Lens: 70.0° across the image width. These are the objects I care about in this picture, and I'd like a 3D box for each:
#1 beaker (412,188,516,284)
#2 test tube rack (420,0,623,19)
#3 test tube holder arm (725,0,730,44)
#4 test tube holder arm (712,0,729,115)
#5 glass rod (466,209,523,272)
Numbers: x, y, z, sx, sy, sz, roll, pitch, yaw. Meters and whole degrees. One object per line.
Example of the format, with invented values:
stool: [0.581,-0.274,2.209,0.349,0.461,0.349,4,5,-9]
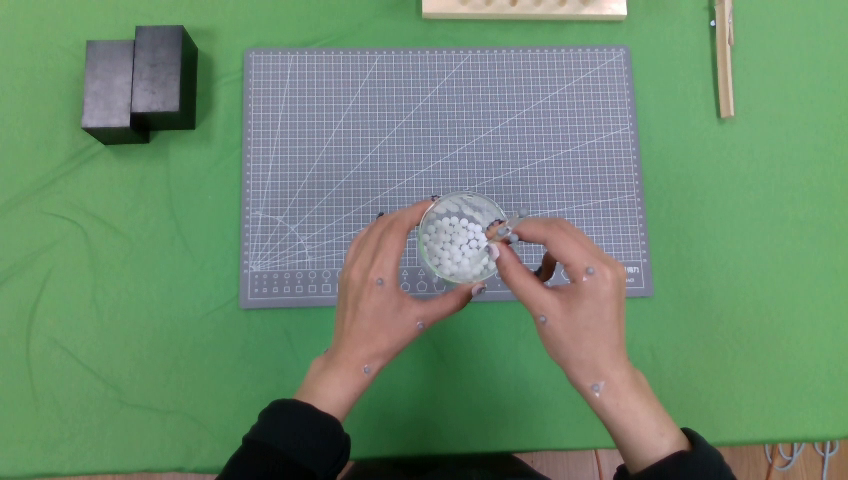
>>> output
beaker: [0.030,0.002,0.521,0.084,0.100,0.074,16,83,-2]
test tube rack: [0.117,-0.306,0.690,0.242,0.085,0.066,0,79,-3]
test tube holder arm: [0.360,-0.277,0.729,0.010,0.015,0.087,11,78,-30]
test tube holder arm: [0.352,-0.234,0.718,0.013,0.015,0.177,10,78,-30]
glass rod: [0.048,0.005,0.458,0.008,0.200,0.008,1,77,-4]
